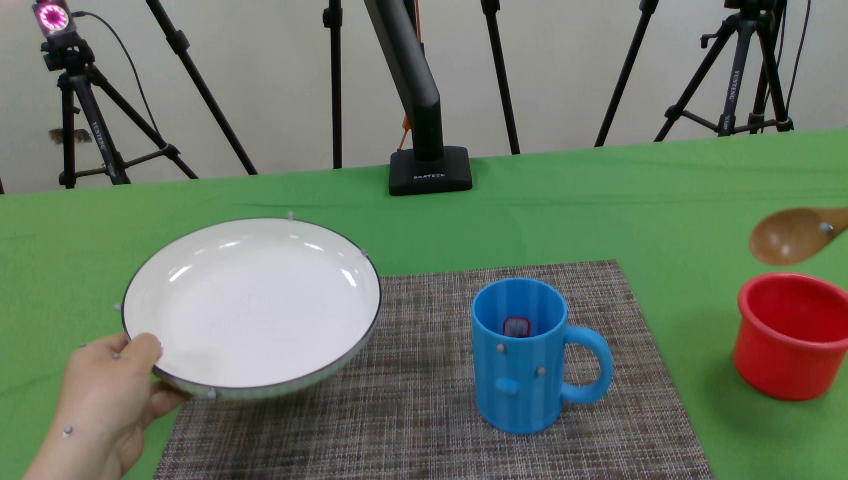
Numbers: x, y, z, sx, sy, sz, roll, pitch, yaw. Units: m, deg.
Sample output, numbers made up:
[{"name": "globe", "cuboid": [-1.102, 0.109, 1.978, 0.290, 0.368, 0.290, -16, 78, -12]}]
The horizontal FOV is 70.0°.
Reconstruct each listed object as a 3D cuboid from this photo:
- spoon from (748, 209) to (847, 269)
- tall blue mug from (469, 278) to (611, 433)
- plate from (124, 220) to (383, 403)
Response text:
[{"name": "spoon", "cuboid": [0.286, -0.021, 0.369, 0.022, 0.194, 0.041, 8, 70, -20]}, {"name": "tall blue mug", "cuboid": [0.094, 0.096, 0.510, 0.107, 0.109, 0.077, -8, 34, -4]}, {"name": "plate", "cuboid": [-0.139, 0.058, 0.519, 0.208, 0.039, 0.205, 5, 38, -3]}]
